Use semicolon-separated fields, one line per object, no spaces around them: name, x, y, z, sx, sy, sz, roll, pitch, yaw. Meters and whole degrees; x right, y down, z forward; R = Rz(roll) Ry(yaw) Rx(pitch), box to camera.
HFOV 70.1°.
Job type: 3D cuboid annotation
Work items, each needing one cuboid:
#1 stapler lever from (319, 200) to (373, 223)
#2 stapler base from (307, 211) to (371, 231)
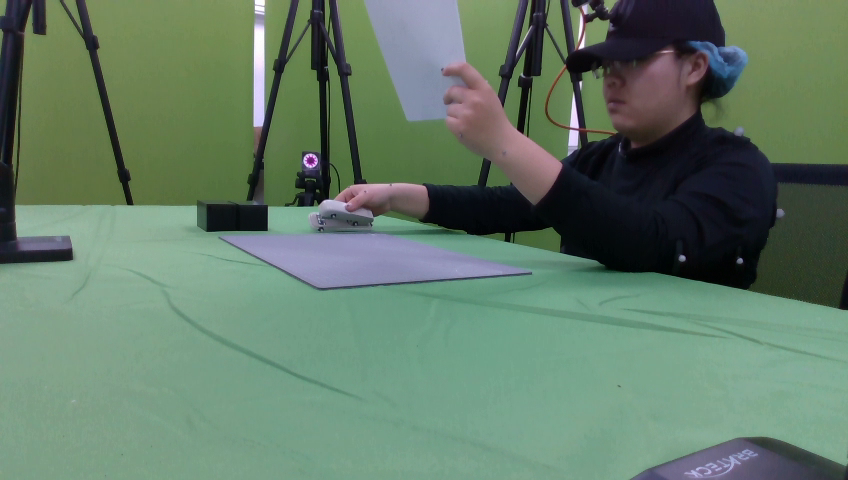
stapler lever;-0.146;-0.054;1.154;0.119;0.026;0.040;2;-31;-36
stapler base;-0.160;-0.040;1.171;0.131;0.041;0.024;1;-31;-35
